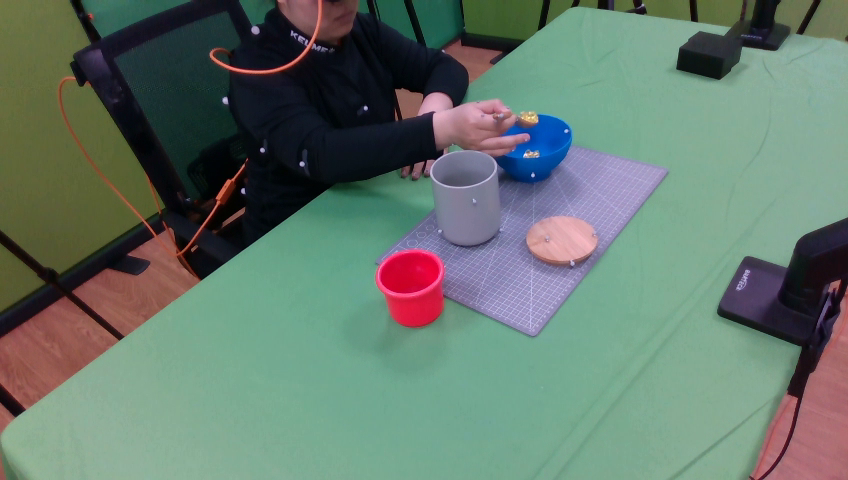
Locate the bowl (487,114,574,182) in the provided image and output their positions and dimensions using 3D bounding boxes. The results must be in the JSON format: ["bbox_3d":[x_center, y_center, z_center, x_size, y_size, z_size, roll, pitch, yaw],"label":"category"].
[{"bbox_3d":[0.190,-0.156,1.085,0.151,0.077,0.150,-5,40,5],"label":"bowl"}]

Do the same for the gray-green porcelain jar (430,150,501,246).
[{"bbox_3d":[0.069,-0.062,0.959,0.106,0.127,0.105,-5,40,5],"label":"gray-green porcelain jar"}]

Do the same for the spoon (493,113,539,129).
[{"bbox_3d":[0.145,-0.196,0.979,0.041,0.021,0.195,9,8,25],"label":"spoon"}]

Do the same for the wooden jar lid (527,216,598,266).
[{"bbox_3d":[0.214,0.003,0.937,0.108,0.021,0.108,-4,40,4],"label":"wooden jar lid"}]
